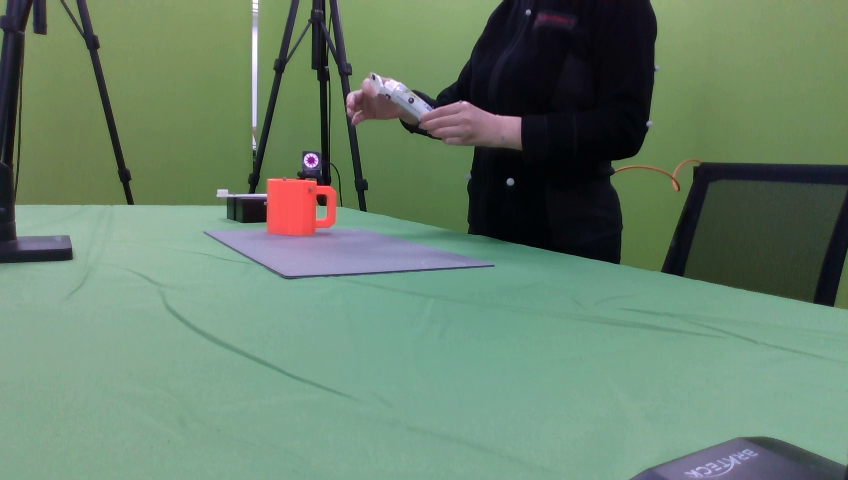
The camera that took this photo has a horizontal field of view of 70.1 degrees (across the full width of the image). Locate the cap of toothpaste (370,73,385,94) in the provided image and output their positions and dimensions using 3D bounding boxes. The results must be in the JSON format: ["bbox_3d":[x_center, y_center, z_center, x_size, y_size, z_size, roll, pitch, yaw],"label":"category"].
[{"bbox_3d":[-0.080,-0.271,1.045,0.011,0.037,0.037,-26,22,-32],"label":"cap of toothpaste"}]

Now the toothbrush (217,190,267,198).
[{"bbox_3d":[-0.344,-0.096,1.282,0.183,0.016,0.014,-1,5,-27],"label":"toothbrush"}]

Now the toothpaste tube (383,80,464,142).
[{"bbox_3d":[-0.002,-0.225,1.051,0.165,0.034,0.055,35,32,-1],"label":"toothpaste tube"}]

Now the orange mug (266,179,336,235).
[{"bbox_3d":[-0.222,-0.062,1.094,0.127,0.101,0.083,-5,10,-22],"label":"orange mug"}]
